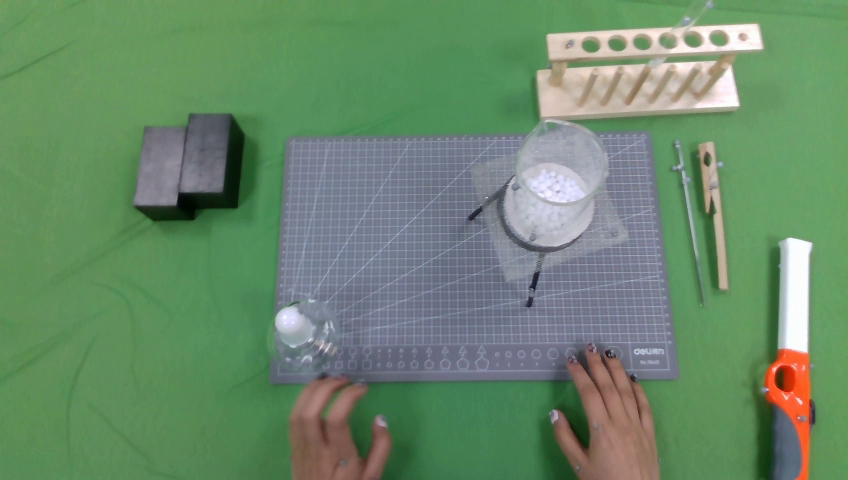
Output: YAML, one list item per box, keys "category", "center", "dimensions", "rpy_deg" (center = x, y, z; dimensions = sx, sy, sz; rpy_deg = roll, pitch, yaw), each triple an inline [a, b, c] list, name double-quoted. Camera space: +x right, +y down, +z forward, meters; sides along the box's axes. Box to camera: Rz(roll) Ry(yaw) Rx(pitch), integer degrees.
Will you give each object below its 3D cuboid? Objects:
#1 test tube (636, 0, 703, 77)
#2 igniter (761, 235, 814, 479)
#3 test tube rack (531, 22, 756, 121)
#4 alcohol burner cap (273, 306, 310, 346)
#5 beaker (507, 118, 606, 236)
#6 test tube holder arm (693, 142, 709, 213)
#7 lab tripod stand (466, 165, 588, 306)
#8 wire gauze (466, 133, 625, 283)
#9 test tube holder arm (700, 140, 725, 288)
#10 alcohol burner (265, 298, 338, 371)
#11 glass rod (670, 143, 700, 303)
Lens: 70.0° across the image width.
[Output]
- category: "test tube"
  center: [0.275, -0.230, 0.684]
  dimensions: [0.017, 0.151, 0.017]
  rpy_deg: [1, 72, -4]
- category: "igniter"
  center: [0.395, 0.128, 0.657]
  dimensions: [0.057, 0.025, 0.275]
  rpy_deg: [13, 74, -5]
- category: "test tube rack"
  center: [0.258, -0.199, 0.727]
  dimensions: [0.242, 0.085, 0.066]
  rpy_deg: [-3, 73, 0]
- category: "alcohol burner cap"
  center: [-0.133, 0.082, 0.595]
  dimensions: [0.034, 0.048, 0.033]
  rpy_deg: [0, 64, 0]
- category: "beaker"
  center: [0.111, -0.051, 0.539]
  dimensions: [0.074, 0.101, 0.083]
  rpy_deg: [-16, 73, -1]
- category: "test tube holder arm"
  center: [0.332, -0.075, 0.724]
  dimensions: [0.010, 0.015, 0.087]
  rpy_deg: [-10, 71, 32]
- category: "lab tripod stand"
  center: [0.111, -0.014, 0.646]
  dimensions: [0.148, 0.132, 0.147]
  rpy_deg: [-1, 74, 3]
- category: "wire gauze"
  center: [0.115, -0.035, 0.584]
  dimensions: [0.121, 0.011, 0.124]
  rpy_deg: [-17, 75, 0]
- category: "test tube holder arm"
  center: [0.337, -0.032, 0.709]
  dimensions: [0.013, 0.015, 0.177]
  rpy_deg: [-10, 71, 32]
- category: "alcohol burner"
  center: [-0.131, 0.095, 0.629]
  dimensions: [0.078, 0.120, 0.077]
  rpy_deg: [0, 71, 2]
- category: "glass rod"
  center: [0.306, -0.024, 0.713]
  dimensions: [0.008, 0.008, 0.198]
  rpy_deg: [-2, 73, 0]
